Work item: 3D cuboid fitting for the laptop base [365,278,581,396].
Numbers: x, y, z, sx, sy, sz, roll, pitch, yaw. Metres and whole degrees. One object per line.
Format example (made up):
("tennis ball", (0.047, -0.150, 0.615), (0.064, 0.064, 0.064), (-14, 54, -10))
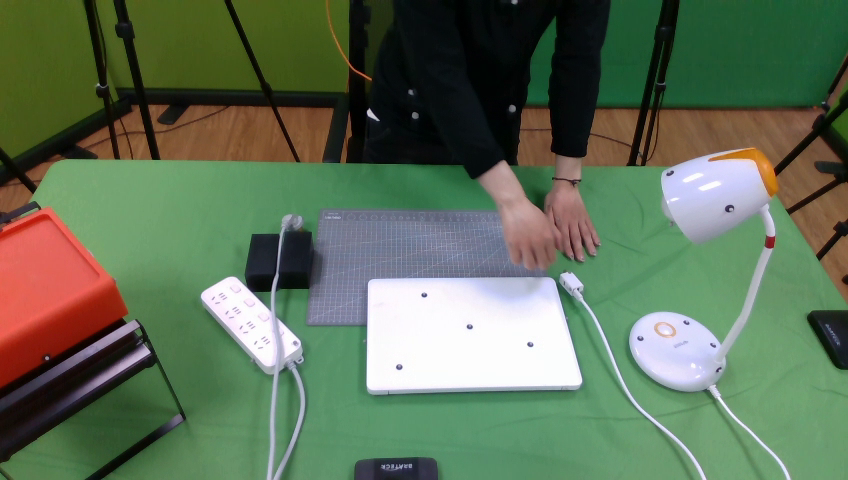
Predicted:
("laptop base", (0.077, 0.162, 1.053), (0.355, 0.023, 0.234), (0, 44, -4))

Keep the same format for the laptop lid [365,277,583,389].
("laptop lid", (0.077, 0.152, 1.046), (0.357, 0.013, 0.240), (1, 45, -3))

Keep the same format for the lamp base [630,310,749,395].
("lamp base", (0.447, 0.142, 0.984), (0.161, 0.181, 0.178), (-24, 55, -24))

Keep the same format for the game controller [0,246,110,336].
("game controller", (-0.511, 0.062, 0.830), (0.097, 0.052, 0.154), (-30, 58, -31))

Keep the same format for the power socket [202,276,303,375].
("power socket", (-0.296, 0.142, 1.034), (0.072, 0.033, 0.225), (-34, 58, -30))

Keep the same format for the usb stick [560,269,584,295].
("usb stick", (0.275, 0.077, 1.142), (0.027, 0.021, 0.059), (-13, 39, -12))

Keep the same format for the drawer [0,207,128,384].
("drawer", (-0.540, 0.074, 0.798), (0.193, 0.073, 0.211), (37, 55, 27))

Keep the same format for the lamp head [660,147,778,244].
("lamp head", (0.389, -0.063, 0.784), (0.123, 0.113, 0.112), (-22, 33, 37))

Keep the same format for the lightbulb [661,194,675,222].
("lightbulb", (0.369, -0.059, 0.807), (0.060, 0.107, 0.059), (18, 61, -35))

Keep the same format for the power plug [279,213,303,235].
("power plug", (-0.264, -0.022, 1.184), (0.035, 0.053, 0.072), (4, 49, 31))

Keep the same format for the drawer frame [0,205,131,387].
("drawer frame", (-0.540, 0.075, 0.795), (0.200, 0.083, 0.213), (36, 55, 26))
